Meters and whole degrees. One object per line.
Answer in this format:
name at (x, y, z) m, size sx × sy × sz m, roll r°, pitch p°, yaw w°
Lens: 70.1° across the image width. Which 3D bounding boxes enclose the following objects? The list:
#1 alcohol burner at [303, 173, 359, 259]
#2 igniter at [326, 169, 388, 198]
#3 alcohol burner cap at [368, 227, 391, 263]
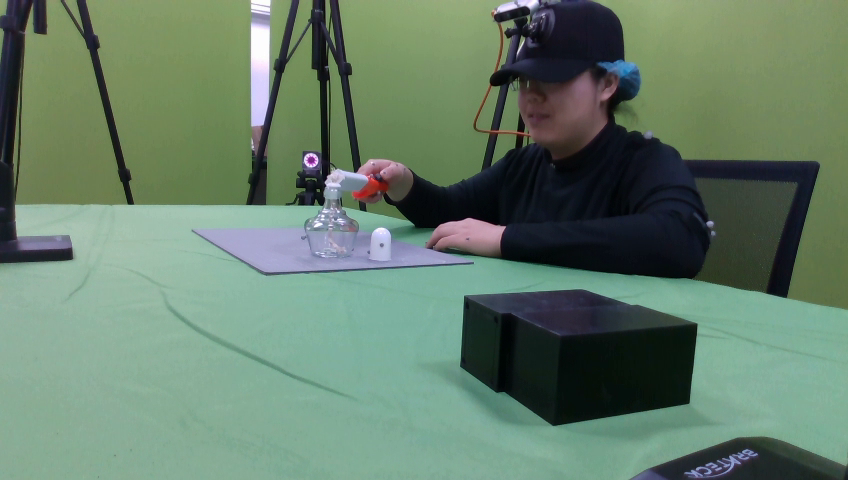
alcohol burner at (-0.130, -0.034, 0.850) m, size 0.078 × 0.119 × 0.078 m, roll 2°, pitch 5°, yaw 0°
igniter at (-0.103, -0.092, 0.998) m, size 0.025 × 0.057 × 0.277 m, roll 47°, pitch 9°, yaw 5°
alcohol burner cap at (-0.060, 0.006, 0.836) m, size 0.034 × 0.048 × 0.034 m, roll 3°, pitch 6°, yaw 0°
